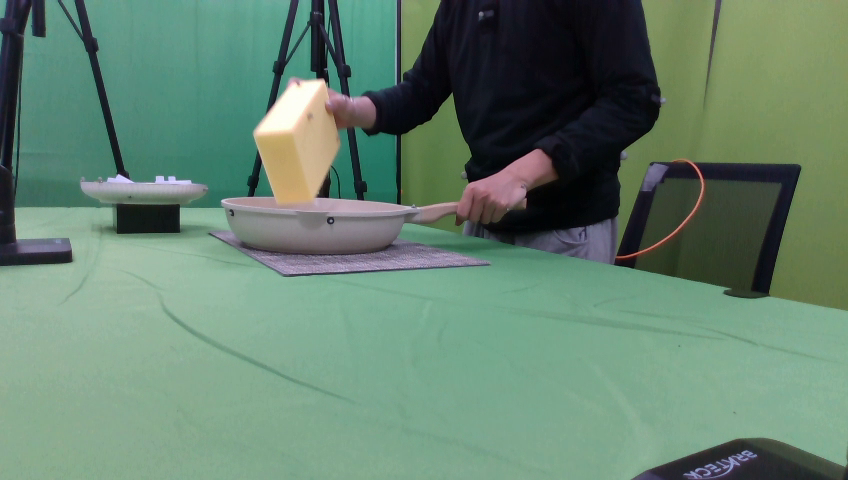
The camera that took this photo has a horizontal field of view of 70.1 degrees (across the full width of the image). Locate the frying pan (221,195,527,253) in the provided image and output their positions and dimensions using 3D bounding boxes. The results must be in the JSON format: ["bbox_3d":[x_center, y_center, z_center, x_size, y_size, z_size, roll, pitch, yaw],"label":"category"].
[{"bbox_3d":[-0.070,-0.043,0.984,0.489,0.102,0.306,-6,9,-5],"label":"frying pan"}]

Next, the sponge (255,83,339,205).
[{"bbox_3d":[-0.199,-0.161,0.986,0.061,0.118,0.206,-5,34,9],"label":"sponge"}]

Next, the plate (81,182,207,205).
[{"bbox_3d":[-0.504,-0.086,1.100,0.208,0.039,0.207,1,6,0],"label":"plate"}]
